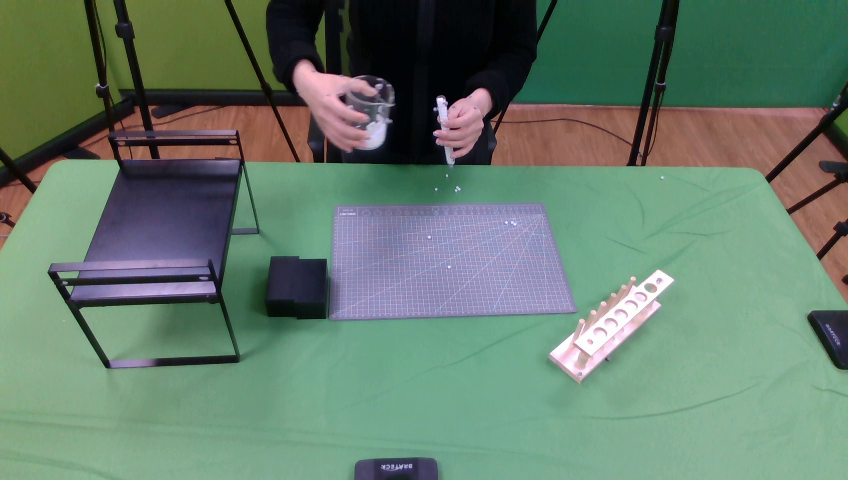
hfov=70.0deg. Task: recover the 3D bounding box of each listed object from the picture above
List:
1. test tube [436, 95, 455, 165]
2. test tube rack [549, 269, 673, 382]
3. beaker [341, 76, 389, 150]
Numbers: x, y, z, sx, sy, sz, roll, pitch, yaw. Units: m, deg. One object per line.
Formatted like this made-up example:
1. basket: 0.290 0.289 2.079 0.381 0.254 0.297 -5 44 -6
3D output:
1. test tube: 0.038 -0.186 1.047 0.017 0.151 0.017 -5 51 7
2. test tube rack: 0.325 0.134 1.047 0.242 0.085 0.066 -32 56 -30
3. beaker: -0.096 -0.203 0.988 0.084 0.100 0.074 31 50 16
